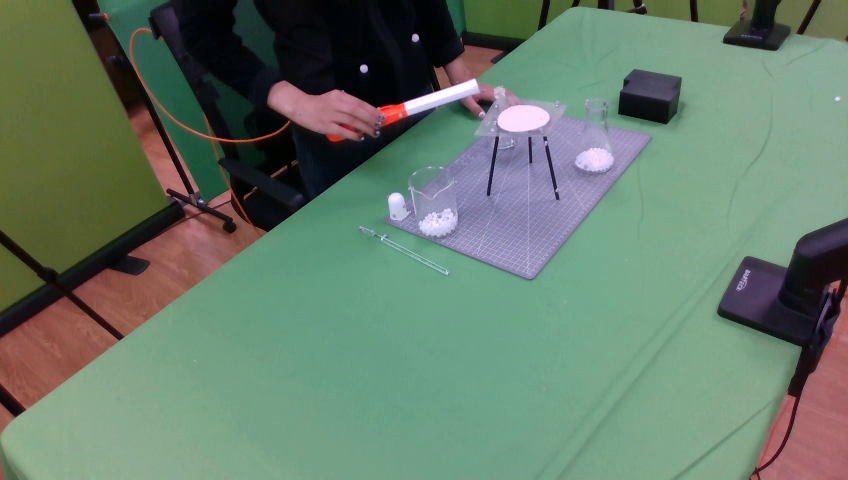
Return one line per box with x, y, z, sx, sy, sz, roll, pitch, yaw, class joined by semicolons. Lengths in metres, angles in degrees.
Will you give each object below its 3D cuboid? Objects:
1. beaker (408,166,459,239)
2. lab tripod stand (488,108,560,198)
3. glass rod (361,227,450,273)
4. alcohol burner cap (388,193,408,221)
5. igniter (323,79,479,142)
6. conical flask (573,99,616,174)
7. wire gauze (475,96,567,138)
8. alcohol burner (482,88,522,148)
0.018;-0.057;0.984;0.074;0.101;0.083;-6;41;5;beaker
0.173;-0.150;1.037;0.148;0.132;0.147;-7;38;6;lab tripod stand
-0.034;0.014;0.984;0.198;0.008;0.008;25;52;35;glass rod
-0.047;-0.059;1.043;0.034;0.048;0.033;-6;40;5;alcohol burner cap
-0.042;-0.220;1.034;0.276;0.025;0.057;-17;36;5;igniter
0.301;-0.184;1.061;0.075;0.122;0.075;-5;40;5;conical flask
0.161;-0.201;0.994;0.121;0.011;0.125;11;43;23;wire gauze
0.149;-0.237;1.160;0.078;0.119;0.077;-4;40;4;alcohol burner
